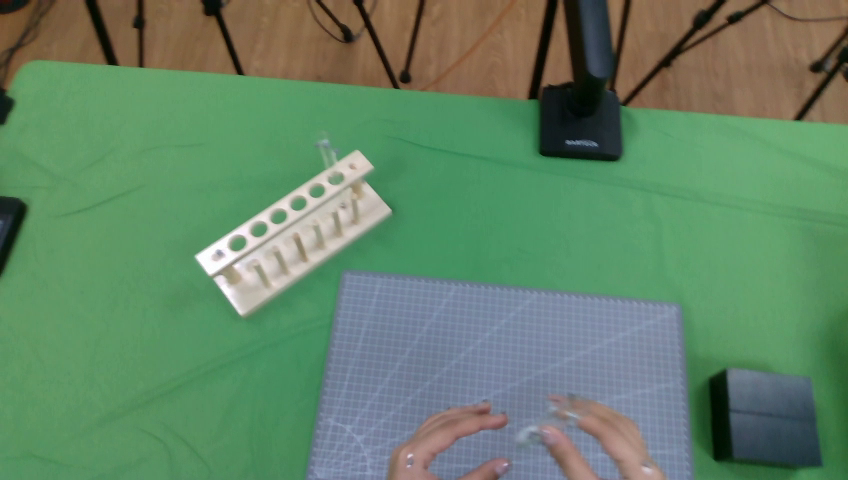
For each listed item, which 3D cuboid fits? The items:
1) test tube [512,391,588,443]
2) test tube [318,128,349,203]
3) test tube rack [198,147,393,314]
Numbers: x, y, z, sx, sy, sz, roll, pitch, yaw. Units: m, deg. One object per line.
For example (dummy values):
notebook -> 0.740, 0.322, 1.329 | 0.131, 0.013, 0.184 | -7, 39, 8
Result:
test tube -> 0.098, 0.147, 0.494 | 0.017, 0.151, 0.017 | 4, 63, -8
test tube -> -0.112, -0.090, 0.767 | 0.017, 0.151, 0.017 | -1, 62, 2
test tube rack -> -0.158, -0.013, 0.786 | 0.242, 0.086, 0.066 | -36, 71, -16
